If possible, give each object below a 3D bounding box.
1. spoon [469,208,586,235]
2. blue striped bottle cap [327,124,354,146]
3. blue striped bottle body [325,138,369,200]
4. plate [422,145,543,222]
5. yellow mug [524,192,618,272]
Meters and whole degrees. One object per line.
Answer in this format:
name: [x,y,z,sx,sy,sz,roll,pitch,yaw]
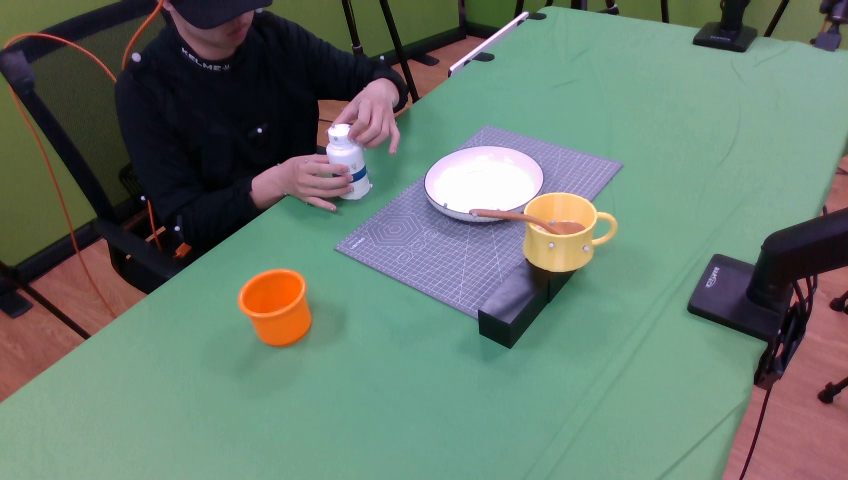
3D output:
spoon: [0.143,-0.026,0.817,0.195,0.021,0.041,12,35,-29]
blue striped bottle cap: [-0.143,-0.179,1.033,0.044,0.021,0.044,-5,37,4]
blue striped bottle body: [-0.138,-0.136,1.071,0.063,0.121,0.063,-3,41,3]
plate: [0.101,-0.094,1.048,0.207,0.039,0.206,-4,41,4]
yellow mug: [0.206,-0.014,0.845,0.131,0.064,0.099,-4,41,2]
